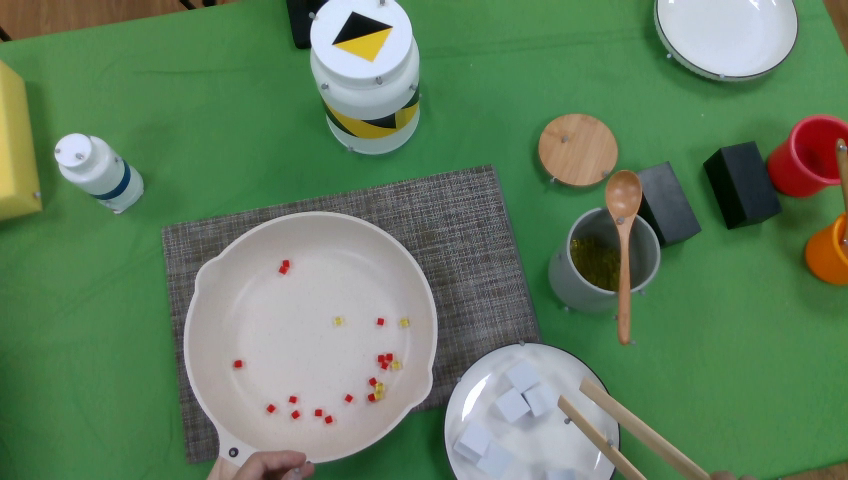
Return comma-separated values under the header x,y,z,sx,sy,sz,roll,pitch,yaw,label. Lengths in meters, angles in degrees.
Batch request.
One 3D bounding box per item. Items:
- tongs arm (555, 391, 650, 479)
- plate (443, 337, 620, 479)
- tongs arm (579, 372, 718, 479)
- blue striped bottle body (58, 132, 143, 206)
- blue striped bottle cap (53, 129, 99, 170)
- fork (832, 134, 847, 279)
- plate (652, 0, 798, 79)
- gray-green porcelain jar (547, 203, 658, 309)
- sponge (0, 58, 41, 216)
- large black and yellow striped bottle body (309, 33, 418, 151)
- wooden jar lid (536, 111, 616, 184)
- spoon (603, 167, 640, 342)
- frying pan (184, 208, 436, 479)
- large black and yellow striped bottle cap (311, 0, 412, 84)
x,y,z,sx,sy,sz,roll,pitch,yaw,label
0.276,0.276,0.578,0.051,0.027,0.380,-23,49,-27,tongs arm
0.126,0.222,0.724,0.208,0.039,0.206,1,76,-2,plate
0.298,0.265,0.591,0.028,0.028,0.383,-23,49,-32,tongs arm
-0.408,-0.091,0.758,0.063,0.121,0.062,0,73,-1,blue striped bottle body
-0.408,-0.106,0.709,0.044,0.021,0.044,1,76,-2,blue striped bottle cap
0.518,-0.037,0.749,0.028,0.018,0.209,-24,120,0,fork
0.434,-0.325,0.885,0.209,0.038,0.208,0,74,-1,plate
0.209,0.025,0.737,0.106,0.127,0.105,0,74,-1,gray-green porcelain jar
-0.594,-0.131,0.796,0.118,0.061,0.205,-16,76,-6,sponge
-0.073,-0.207,0.767,0.131,0.185,0.130,0,73,-1,large black and yellow striped bottle body
0.208,-0.126,0.835,0.108,0.021,0.108,0,76,-1,wooden jar lid
0.217,0.014,0.668,0.042,0.022,0.193,5,78,-4,spoon
-0.181,0.191,0.690,0.306,0.103,0.486,28,67,7,frying pan
-0.071,-0.232,0.686,0.115,0.019,0.114,0,76,-1,large black and yellow striped bottle cap
